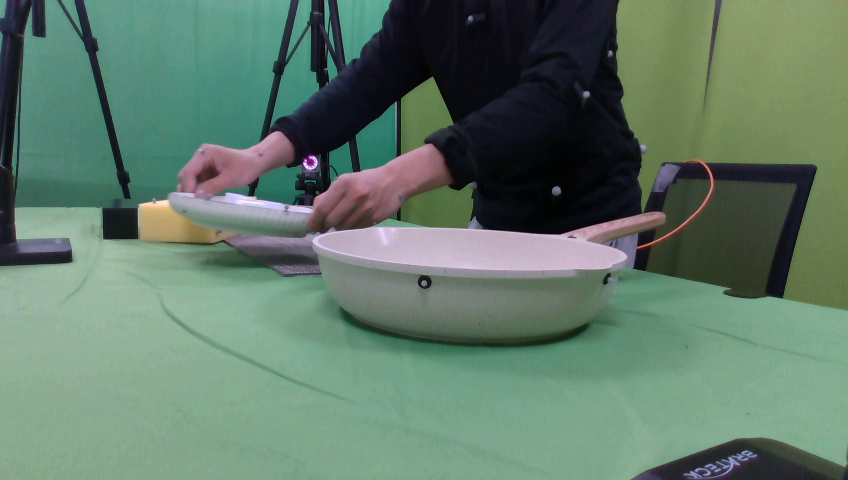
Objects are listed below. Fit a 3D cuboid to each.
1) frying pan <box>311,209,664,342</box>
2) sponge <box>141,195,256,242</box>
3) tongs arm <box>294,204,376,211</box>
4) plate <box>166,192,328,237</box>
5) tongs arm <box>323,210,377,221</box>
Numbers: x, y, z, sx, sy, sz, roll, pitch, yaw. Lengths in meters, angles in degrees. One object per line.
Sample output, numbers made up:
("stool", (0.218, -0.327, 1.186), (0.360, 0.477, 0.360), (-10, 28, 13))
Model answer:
("frying pan", (0.120, 0.011, 0.643), (0.490, 0.102, 0.305), (-14, 16, -37))
("sponge", (-0.380, -0.040, 1.047), (0.118, 0.061, 0.207), (1, 8, 3))
("tongs arm", (-0.306, -0.070, 1.430), (0.386, 0.026, 0.050), (2, 8, -15))
("plate", (-0.236, -0.033, 0.811), (0.208, 0.039, 0.207), (8, 4, 0))
("tongs arm", (-0.280, -0.056, 1.355), (0.389, 0.028, 0.028), (-1, 6, -28))
